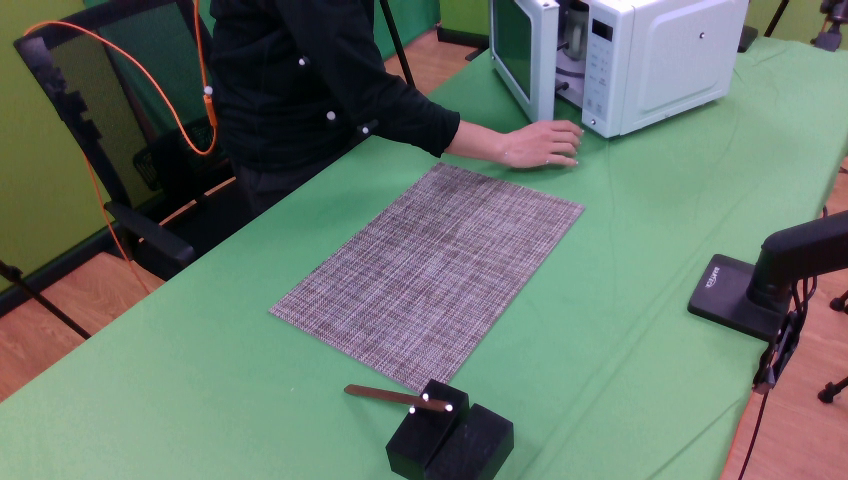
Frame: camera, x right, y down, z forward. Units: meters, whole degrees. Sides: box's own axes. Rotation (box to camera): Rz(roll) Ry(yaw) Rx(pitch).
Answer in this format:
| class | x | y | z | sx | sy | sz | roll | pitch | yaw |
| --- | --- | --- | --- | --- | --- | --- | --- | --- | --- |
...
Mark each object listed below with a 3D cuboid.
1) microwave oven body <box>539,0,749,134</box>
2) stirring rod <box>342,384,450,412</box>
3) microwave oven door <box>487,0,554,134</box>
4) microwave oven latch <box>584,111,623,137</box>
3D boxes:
| class | x | y | z | sx | sy | sz | roll | pitch | yaw |
| --- | --- | --- | --- | --- | --- | --- | --- | --- | --- |
| microwave oven body | 0.382 | -0.444 | 1.246 | 0.327 | 0.261 | 0.437 | -22 | 42 | -16 |
| stirring rod | -0.038 | 0.186 | 0.714 | 0.175 | 0.006 | 0.014 | -3 | 22 | 43 |
| microwave oven door | 0.190 | -0.407 | 1.223 | 0.039 | 0.245 | 0.353 | -12 | 41 | -5 |
| microwave oven latch | 0.337 | -0.222 | 1.142 | 0.030 | 0.029 | 0.078 | -21 | 42 | -14 |
